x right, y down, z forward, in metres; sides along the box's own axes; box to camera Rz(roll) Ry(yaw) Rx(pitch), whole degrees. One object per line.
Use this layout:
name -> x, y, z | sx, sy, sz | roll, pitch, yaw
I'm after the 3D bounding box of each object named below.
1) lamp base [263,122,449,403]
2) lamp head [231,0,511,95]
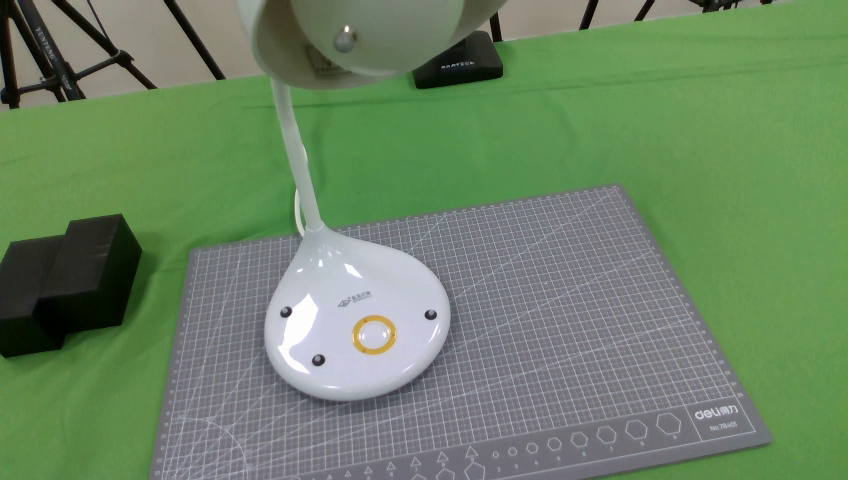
lamp base -> -0.072, 0.009, 0.476 | 0.161, 0.182, 0.177 | -30, 47, -23
lamp head -> -0.032, -0.129, 0.221 | 0.112, 0.113, 0.122 | -24, 77, -18
